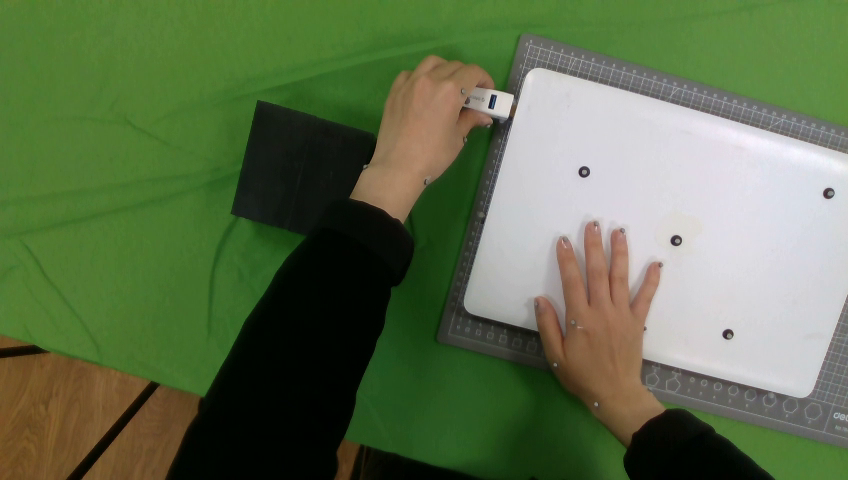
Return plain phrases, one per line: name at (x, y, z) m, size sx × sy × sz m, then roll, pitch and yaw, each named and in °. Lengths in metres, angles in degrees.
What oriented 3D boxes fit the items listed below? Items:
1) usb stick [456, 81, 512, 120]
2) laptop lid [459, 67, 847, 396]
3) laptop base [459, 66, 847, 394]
usb stick at (0.059, -0.123, 0.544) m, size 0.059 × 0.027 × 0.021 m, roll 14°, pitch 90°, yaw -4°
laptop lid at (0.229, 0.000, 0.564) m, size 0.357 × 0.013 × 0.242 m, roll 16°, pitch 98°, yaw -4°
laptop base at (0.229, -0.004, 0.575) m, size 0.355 × 0.023 × 0.236 m, roll 15°, pitch 99°, yaw -4°
